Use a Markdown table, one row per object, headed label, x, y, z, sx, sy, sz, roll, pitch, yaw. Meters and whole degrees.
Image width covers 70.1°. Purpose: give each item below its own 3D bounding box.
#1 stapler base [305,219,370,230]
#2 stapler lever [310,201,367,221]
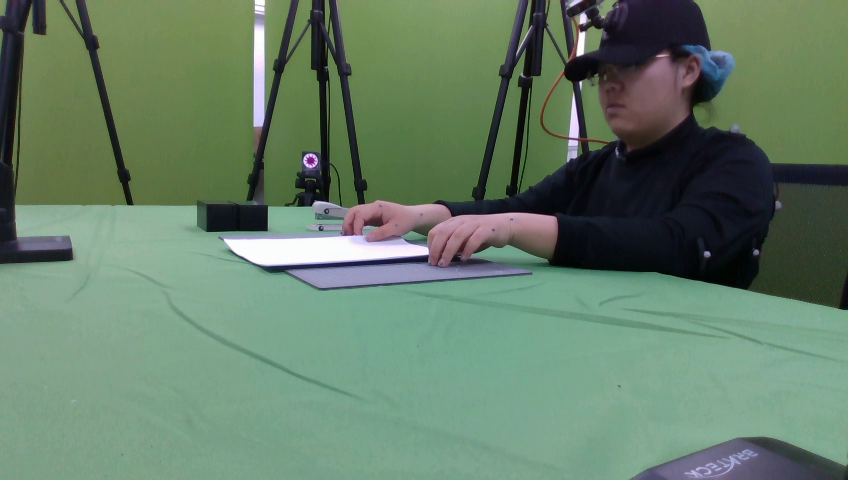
| label | x | y | z | sx | sy | sz | roll | pitch | yaw |
| --- | --- | --- | --- | --- | --- | --- | --- | --- | --- |
| stapler base | -0.173 | -0.033 | 1.215 | 0.131 | 0.024 | 0.041 | 0 | 10 | -35 |
| stapler lever | -0.170 | -0.057 | 1.213 | 0.119 | 0.040 | 0.026 | -1 | 11 | -34 |
